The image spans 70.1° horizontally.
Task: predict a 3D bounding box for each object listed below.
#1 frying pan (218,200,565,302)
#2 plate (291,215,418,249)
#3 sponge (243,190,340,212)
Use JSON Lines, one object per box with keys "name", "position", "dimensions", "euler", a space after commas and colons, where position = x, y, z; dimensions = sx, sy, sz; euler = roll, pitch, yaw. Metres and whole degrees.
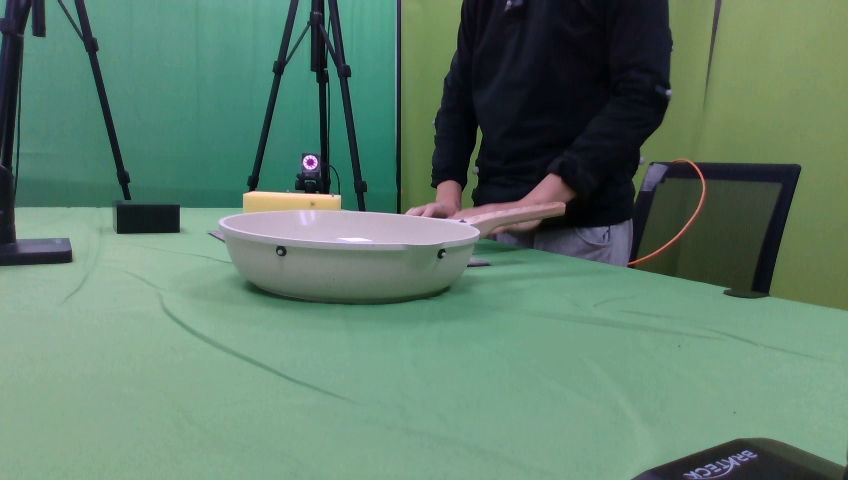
{"name": "frying pan", "position": [0.003, -0.010, 0.754], "dimensions": [0.490, 0.102, 0.305], "euler": [-12, 16, -32]}
{"name": "plate", "position": [-0.115, -0.013, 1.002], "dimensions": [0.208, 0.039, 0.207], "euler": [2, 7, 0]}
{"name": "sponge", "position": [-0.298, -0.077, 1.388], "dimensions": [0.207, 0.061, 0.118], "euler": [2, 8, -7]}
